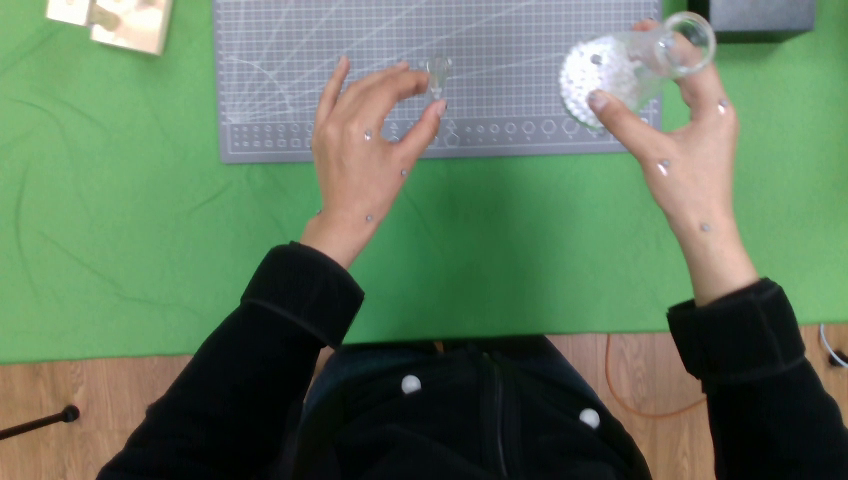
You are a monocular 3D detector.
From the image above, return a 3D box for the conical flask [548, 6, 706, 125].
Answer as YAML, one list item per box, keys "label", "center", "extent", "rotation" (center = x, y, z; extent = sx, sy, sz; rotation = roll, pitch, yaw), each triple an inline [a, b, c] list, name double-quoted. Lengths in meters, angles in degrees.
- label: "conical flask"
  center: [0.141, -0.124, 0.418]
  extent: [0.075, 0.121, 0.075]
  rotation: [-1, 94, -11]

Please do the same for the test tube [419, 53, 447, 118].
- label: "test tube"
  center: [0.006, -0.123, 0.498]
  extent: [0.017, 0.150, 0.017]
  rotation: [0, 89, -2]

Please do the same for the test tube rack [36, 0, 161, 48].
- label: "test tube rack"
  center: [-0.277, -0.312, 0.551]
  extent: [0.067, 0.085, 0.242]
  rotation: [12, 95, -2]
